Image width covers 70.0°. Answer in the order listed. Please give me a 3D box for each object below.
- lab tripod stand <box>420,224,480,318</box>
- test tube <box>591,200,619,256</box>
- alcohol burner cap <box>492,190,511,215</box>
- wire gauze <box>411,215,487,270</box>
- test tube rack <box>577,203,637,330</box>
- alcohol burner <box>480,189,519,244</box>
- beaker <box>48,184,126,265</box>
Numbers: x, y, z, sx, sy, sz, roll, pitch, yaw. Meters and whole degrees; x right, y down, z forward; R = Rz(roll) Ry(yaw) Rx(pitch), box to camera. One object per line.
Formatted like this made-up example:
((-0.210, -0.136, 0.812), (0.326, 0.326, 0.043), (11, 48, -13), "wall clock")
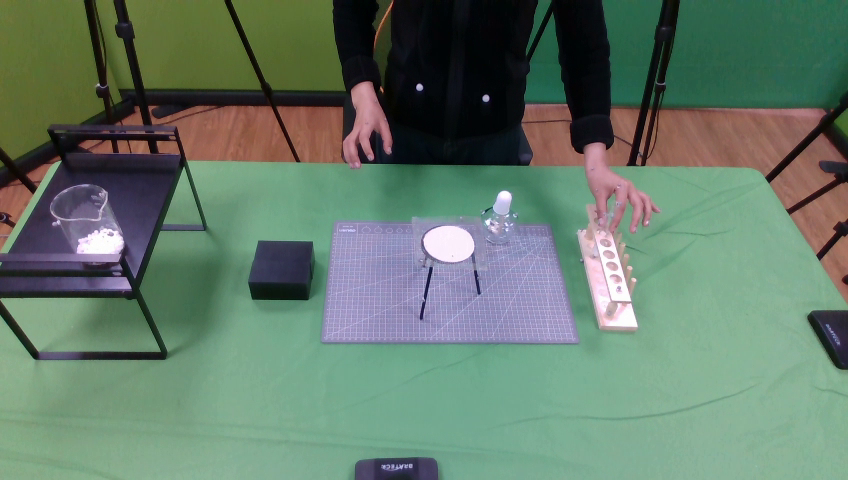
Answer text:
((0.034, 0.052, 1.070), (0.148, 0.132, 0.147), (3, 48, -3), "lab tripod stand")
((0.335, -0.019, 1.129), (0.017, 0.151, 0.017), (1, 51, -1), "test tube")
((0.151, -0.076, 1.165), (0.034, 0.048, 0.033), (5, 49, -6), "alcohol burner cap")
((0.041, 0.002, 1.026), (0.125, 0.011, 0.120), (1, 46, -3), "wire gauze")
((0.348, 0.045, 1.138), (0.067, 0.085, 0.241), (2, 46, -2), "test tube rack")
((0.150, -0.051, 1.191), (0.078, 0.120, 0.077), (1, 46, -1), "alcohol burner")
((-0.479, -0.018, 0.875), (0.083, 0.101, 0.074), (30, 52, 22), "beaker")
